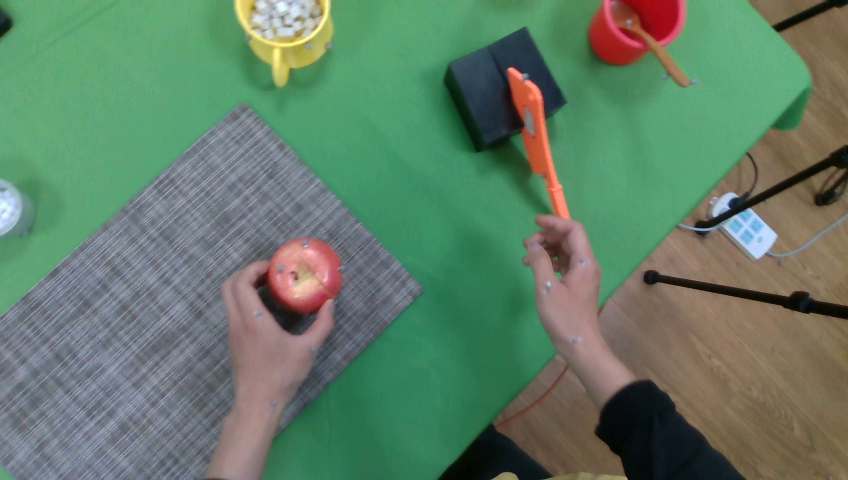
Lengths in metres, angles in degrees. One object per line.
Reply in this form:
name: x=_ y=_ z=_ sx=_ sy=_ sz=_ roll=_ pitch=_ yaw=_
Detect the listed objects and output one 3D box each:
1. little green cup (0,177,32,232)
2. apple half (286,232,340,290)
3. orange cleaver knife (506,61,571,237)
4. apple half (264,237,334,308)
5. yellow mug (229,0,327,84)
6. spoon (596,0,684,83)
little green cup: x=-0.455 y=-0.037 z=0.646 sx=0.061 sy=0.038 sz=0.061 roll=0 pitch=86 yaw=-6
apple half: x=-0.113 y=0.016 z=0.659 sx=0.033 sy=0.081 sz=0.081 roll=-40 pitch=90 yaw=-4
orange cleaver knife: x=0.131 y=-0.100 z=0.694 sx=0.012 sy=0.076 sz=0.213 roll=-24 pitch=119 yaw=-4
apple half: x=-0.141 y=0.042 z=0.655 sx=0.053 sy=0.074 sz=0.081 roll=-39 pitch=94 yaw=-3
yellow mug: x=-0.162 y=-0.241 z=0.678 sx=0.100 sy=0.064 sz=0.130 roll=4 pitch=87 yaw=-6
spoon: x=0.243 y=-0.230 z=0.685 sx=0.042 sy=0.022 sz=0.191 roll=-9 pitch=42 yaw=-6
